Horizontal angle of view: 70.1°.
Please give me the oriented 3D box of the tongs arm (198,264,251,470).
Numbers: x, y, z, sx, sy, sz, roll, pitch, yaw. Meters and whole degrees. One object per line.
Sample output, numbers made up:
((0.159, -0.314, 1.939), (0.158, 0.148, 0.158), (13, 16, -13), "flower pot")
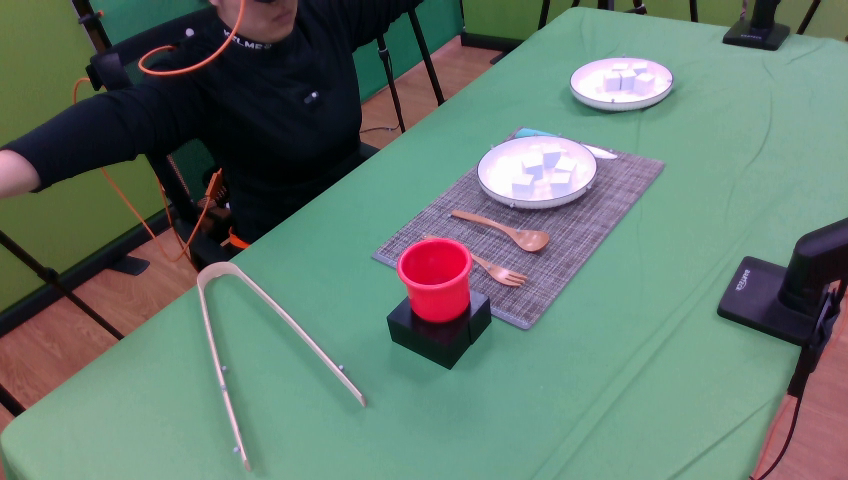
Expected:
((-0.270, 0.154, 0.840), (0.051, 0.026, 0.381), (-24, 41, -17), "tongs arm")

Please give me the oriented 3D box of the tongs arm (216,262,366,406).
((-0.201, 0.121, 0.871), (0.028, 0.028, 0.384), (-36, 46, -24), "tongs arm")

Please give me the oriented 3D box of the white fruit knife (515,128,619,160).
((0.269, -0.182, 1.148), (0.206, 0.016, 0.027), (21, 77, 29), "white fruit knife")

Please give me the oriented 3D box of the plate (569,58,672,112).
((0.411, -0.323, 1.274), (0.209, 0.038, 0.208), (-5, 41, 5), "plate")

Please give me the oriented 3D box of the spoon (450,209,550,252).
((0.119, -0.022, 0.979), (0.192, 0.022, 0.041), (24, 68, 33), "spoon")

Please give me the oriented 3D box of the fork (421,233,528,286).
((0.072, 0.027, 0.933), (0.205, 0.019, 0.028), (27, 58, 33), "fork")

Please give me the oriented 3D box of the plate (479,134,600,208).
((0.202, -0.117, 1.065), (0.207, 0.039, 0.206), (-5, 40, 5), "plate")
